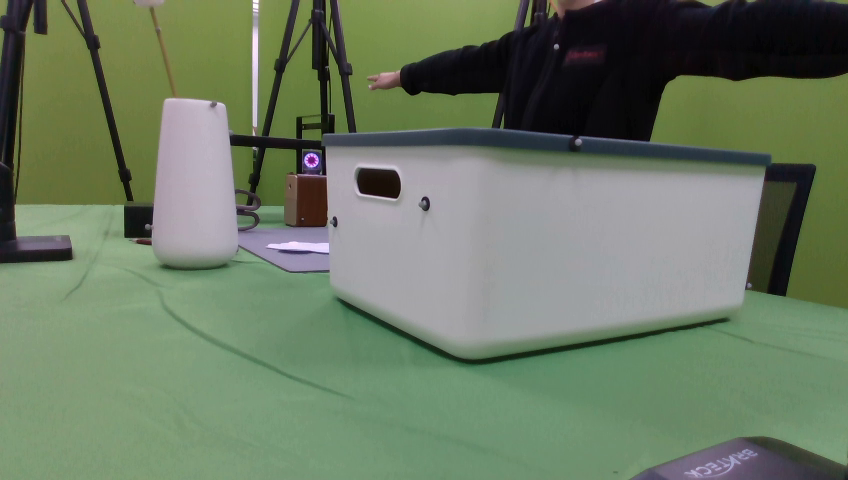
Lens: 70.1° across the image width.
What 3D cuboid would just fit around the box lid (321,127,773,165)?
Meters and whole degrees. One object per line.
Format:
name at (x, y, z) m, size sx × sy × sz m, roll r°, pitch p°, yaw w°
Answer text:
box lid at (0.113, -0.084, 0.573) m, size 0.373 × 0.015 × 0.262 m, roll -2°, pitch 8°, yaw -33°

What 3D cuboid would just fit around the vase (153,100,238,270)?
vase at (-0.278, -0.066, 0.736) m, size 0.098 × 0.200 × 0.098 m, roll 2°, pitch 9°, yaw 0°

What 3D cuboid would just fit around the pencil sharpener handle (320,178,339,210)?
pencil sharpener handle at (-0.194, -0.095, 1.256) m, size 0.031 × 0.067 × 0.036 m, roll -2°, pitch -6°, yaw -36°

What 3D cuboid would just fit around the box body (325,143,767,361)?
box body at (0.111, -0.011, 0.584) m, size 0.366 × 0.160 × 0.253 m, roll -2°, pitch 9°, yaw -33°

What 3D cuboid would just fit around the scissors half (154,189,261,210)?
scissors half at (-0.373, -0.066, 1.049) m, size 0.176 × 0.040 × 0.012 m, roll -6°, pitch 11°, yaw -27°

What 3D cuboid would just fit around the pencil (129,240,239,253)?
pencil at (-0.350, 0.008, 0.874) m, size 0.193 × 0.012 × 0.012 m, roll 4°, pitch 7°, yaw 19°

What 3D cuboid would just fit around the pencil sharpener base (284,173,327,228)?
pencil sharpener base at (-0.239, -0.081, 1.231) m, size 0.077 × 0.107 × 0.061 m, roll -2°, pitch 8°, yaw -36°

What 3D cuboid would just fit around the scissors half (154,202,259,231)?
scissors half at (-0.375, -0.046, 1.051) m, size 0.176 × 0.040 × 0.013 m, roll 13°, pitch -3°, yaw -28°

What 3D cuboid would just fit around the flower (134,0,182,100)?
flower at (-0.282, -0.146, 0.712) m, size 0.038 × 0.362 × 0.044 m, roll -23°, pitch 24°, yaw -31°
